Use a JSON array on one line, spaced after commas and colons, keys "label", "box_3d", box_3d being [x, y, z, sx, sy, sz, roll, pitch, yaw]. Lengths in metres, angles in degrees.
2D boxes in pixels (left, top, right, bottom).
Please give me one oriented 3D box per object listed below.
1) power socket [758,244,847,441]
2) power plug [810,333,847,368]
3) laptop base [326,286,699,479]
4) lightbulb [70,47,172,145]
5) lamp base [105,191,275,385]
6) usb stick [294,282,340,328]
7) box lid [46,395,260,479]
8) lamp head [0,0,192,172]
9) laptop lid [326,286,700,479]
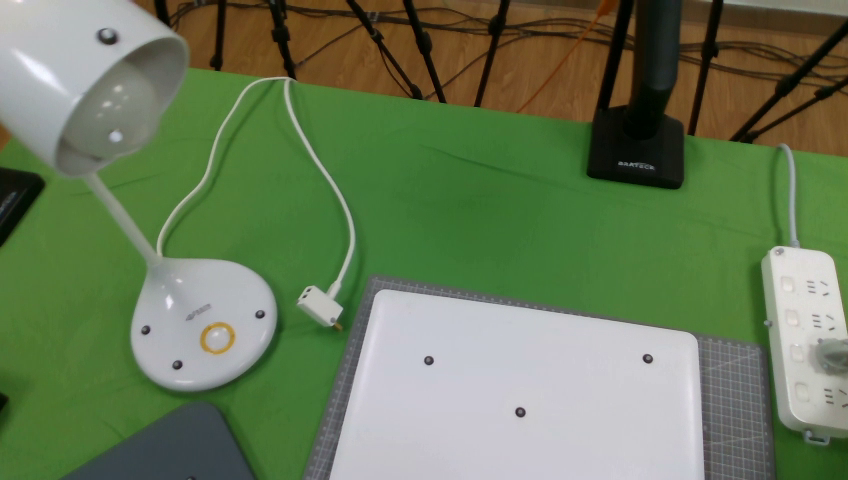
[{"label": "power socket", "box_3d": [0.409, 0.099, 0.652, 0.072, 0.033, 0.225, 9, 58, 7]}, {"label": "power plug", "box_3d": [0.431, 0.118, 0.612, 0.072, 0.053, 0.035, 19, 59, 12]}, {"label": "laptop base", "box_3d": [0.096, 0.176, 0.621, 0.354, 0.023, 0.233, 7, 61, 7]}, {"label": "lightbulb", "box_3d": [-0.193, -0.108, 0.358, 0.059, 0.059, 0.108, -27, 99, -15]}, {"label": "lamp base", "box_3d": [-0.262, 0.039, 0.626, 0.178, 0.182, 0.160, 34, 64, 25]}, {"label": "usb stick", "box_3d": [-0.115, 0.075, 0.677, 0.021, 0.059, 0.027, -14, 37, 48]}, {"label": "box lid", "box_3d": [-0.235, 0.341, 0.531, 0.263, 0.015, 0.368, -31, 62, -16]}, {"label": "lamp head", "box_3d": [-0.223, -0.117, 0.364, 0.123, 0.112, 0.112, 37, 63, -3]}, {"label": "laptop lid", "box_3d": [0.095, 0.171, 0.611, 0.356, 0.013, 0.240, 9, 60, 8]}]
